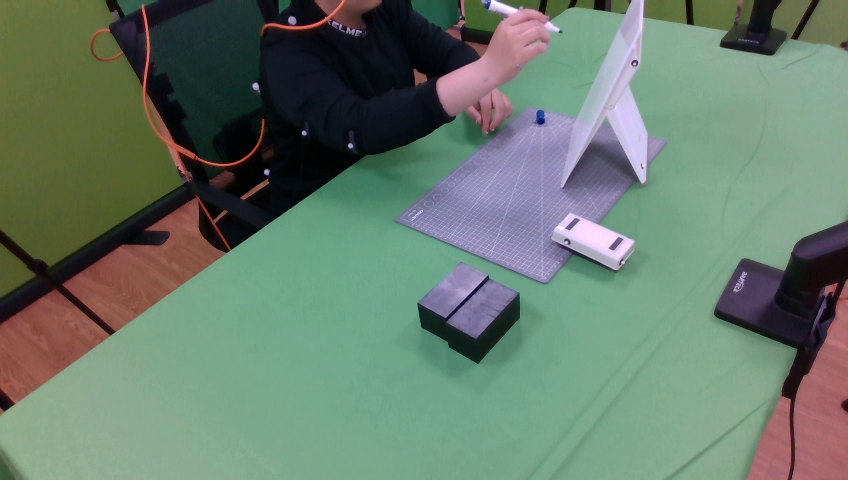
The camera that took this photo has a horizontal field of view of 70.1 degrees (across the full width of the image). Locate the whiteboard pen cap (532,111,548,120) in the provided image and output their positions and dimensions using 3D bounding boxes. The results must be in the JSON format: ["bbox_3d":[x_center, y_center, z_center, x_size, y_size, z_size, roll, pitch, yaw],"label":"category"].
[{"bbox_3d":[0.239,-0.255,1.238,0.018,0.018,0.033,-28,27,-22],"label":"whiteboard pen cap"}]

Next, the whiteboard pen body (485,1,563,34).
[{"bbox_3d":[0.164,-0.358,0.981,0.141,0.017,0.017,13,37,-17],"label":"whiteboard pen body"}]

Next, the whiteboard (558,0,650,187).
[{"bbox_3d":[0.362,-0.238,1.026,0.144,0.306,0.217,21,44,3],"label":"whiteboard"}]

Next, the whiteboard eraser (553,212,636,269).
[{"bbox_3d":[0.258,0.003,0.918,0.112,0.042,0.056,27,50,30],"label":"whiteboard eraser"}]
